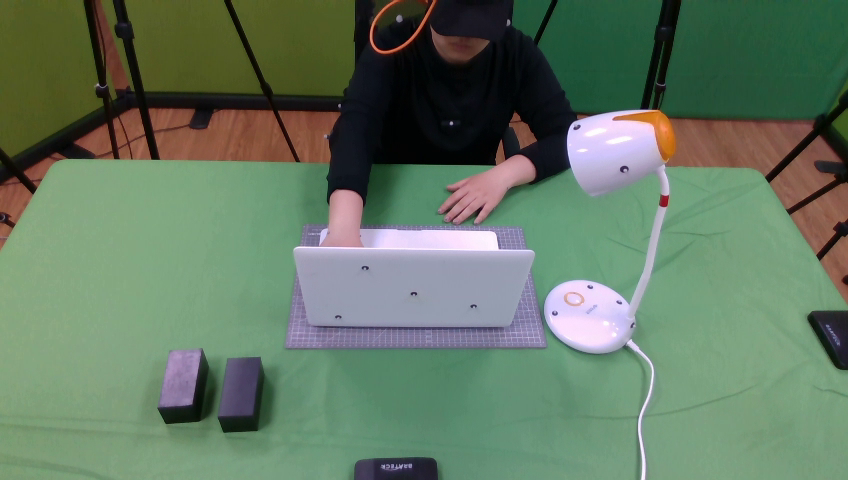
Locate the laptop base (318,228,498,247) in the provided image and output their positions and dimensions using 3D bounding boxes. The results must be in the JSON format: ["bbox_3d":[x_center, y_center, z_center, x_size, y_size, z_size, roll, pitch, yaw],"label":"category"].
[{"bbox_3d":[-0.028,0.066,1.134,0.355,0.023,0.234,1,43,-4],"label":"laptop base"}]

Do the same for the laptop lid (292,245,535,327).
[{"bbox_3d":[-0.018,0.080,0.956,0.357,0.243,0.013,2,53,-5],"label":"laptop lid"}]

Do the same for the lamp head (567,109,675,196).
[{"bbox_3d":[0.272,-0.123,0.818,0.122,0.113,0.112,-9,35,37],"label":"lamp head"}]

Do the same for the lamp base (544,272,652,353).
[{"bbox_3d":[0.310,0.086,1.029,0.178,0.181,0.160,32,52,21],"label":"lamp base"}]
